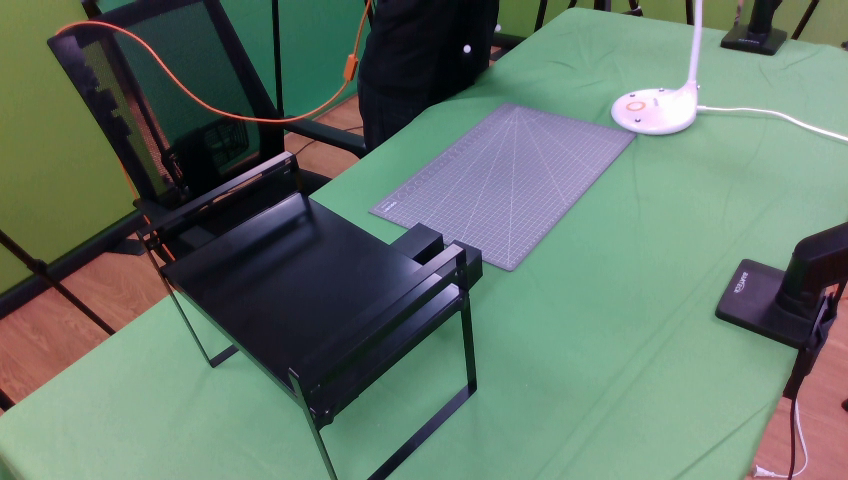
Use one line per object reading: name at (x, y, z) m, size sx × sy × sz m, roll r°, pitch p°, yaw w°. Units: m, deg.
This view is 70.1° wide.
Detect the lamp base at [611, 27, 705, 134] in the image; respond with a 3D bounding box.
lamp base at (0.459, -0.316, 1.154) m, size 0.179 × 0.181 × 0.159 m, roll -5°, pitch 41°, yaw -1°
